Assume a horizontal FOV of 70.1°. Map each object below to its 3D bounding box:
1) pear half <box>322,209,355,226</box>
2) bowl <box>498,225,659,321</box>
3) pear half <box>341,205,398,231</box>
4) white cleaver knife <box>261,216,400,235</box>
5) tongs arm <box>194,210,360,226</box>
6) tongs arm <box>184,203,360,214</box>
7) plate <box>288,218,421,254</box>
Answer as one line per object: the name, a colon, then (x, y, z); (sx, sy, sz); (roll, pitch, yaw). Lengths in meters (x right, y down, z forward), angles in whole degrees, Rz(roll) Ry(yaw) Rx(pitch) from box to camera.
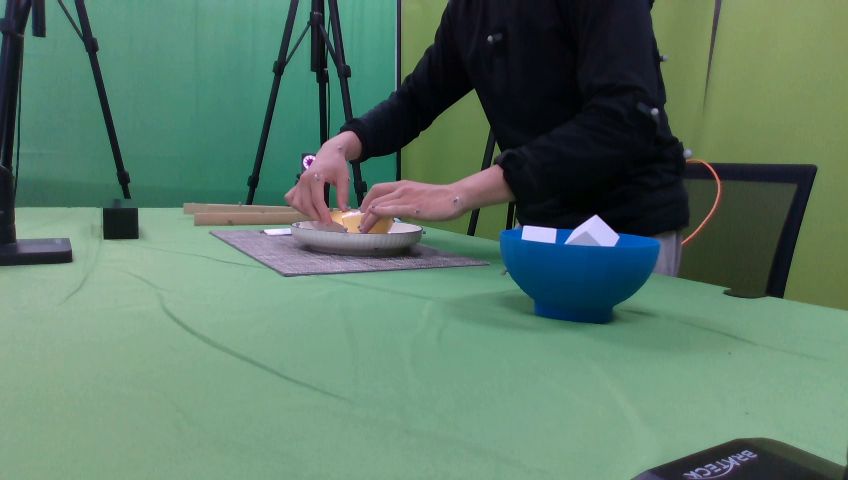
pear half: (-0.127, -0.035, 1.010); (0.088, 0.031, 0.070); (32, -2, 13)
bowl: (0.144, 0.031, 0.585); (0.151, 0.077, 0.151); (2, 7, 0)
pear half: (-0.072, -0.025, 0.913); (0.076, 0.056, 0.109); (-29, 9, -42)
white cleaver knife: (-0.168, -0.023, 1.156); (0.288, 0.021, 0.065); (-7, 16, -33)
tongs arm: (-0.298, -0.049, 1.307); (0.390, 0.028, 0.028); (-3, 8, -38)
tongs arm: (-0.337, -0.065, 1.376); (0.387, 0.026, 0.050); (0, 9, -25)
plate: (-0.109, -0.007, 0.956); (0.208, 0.039, 0.207); (2, 7, 0)
